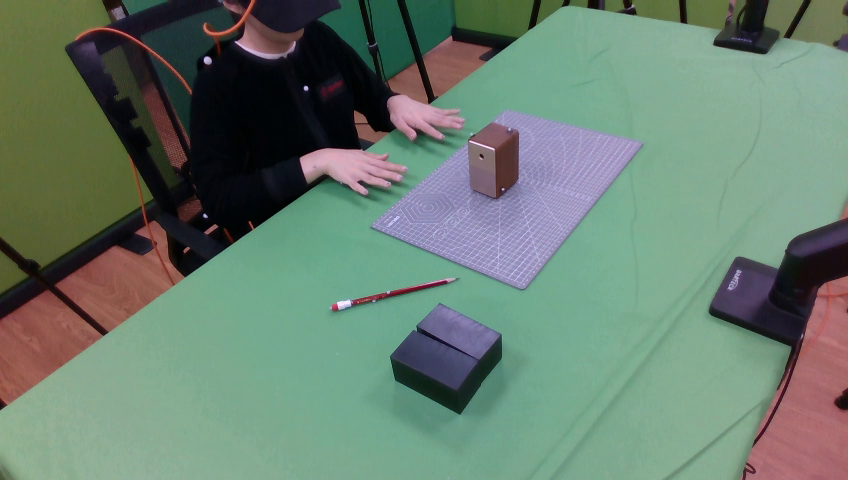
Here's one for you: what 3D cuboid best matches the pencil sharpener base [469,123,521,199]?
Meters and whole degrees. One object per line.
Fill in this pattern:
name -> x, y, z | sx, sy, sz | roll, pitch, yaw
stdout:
pencil sharpener base -> 0.126, -0.138, 1.050 | 0.061, 0.107, 0.077 | 24, 50, 33

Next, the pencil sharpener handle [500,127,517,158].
pencil sharpener handle -> 0.155, -0.177, 1.071 | 0.036, 0.068, 0.031 | 32, 53, 24

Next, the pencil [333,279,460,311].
pencil -> -0.040, 0.080, 0.900 | 0.194, 0.012, 0.012 | -12, 40, -8
